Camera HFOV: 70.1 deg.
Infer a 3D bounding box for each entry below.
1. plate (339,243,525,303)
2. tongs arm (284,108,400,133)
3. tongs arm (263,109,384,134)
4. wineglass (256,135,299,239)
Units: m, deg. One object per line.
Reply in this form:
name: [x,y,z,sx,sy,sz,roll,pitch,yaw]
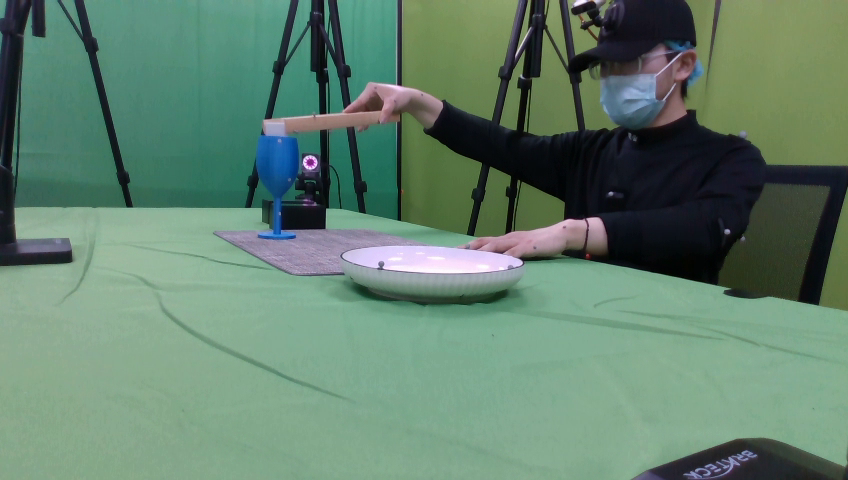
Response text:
plate: [0.008,0.035,0.682,0.209,0.038,0.209,3,7,0]
tongs arm: [-0.150,-0.235,1.177,0.050,0.026,0.386,4,15,32]
tongs arm: [-0.176,-0.237,1.191,0.028,0.028,0.389,-1,13,30]
wineglass: [-0.252,-0.091,1.036,0.074,0.172,0.073,3,7,0]
